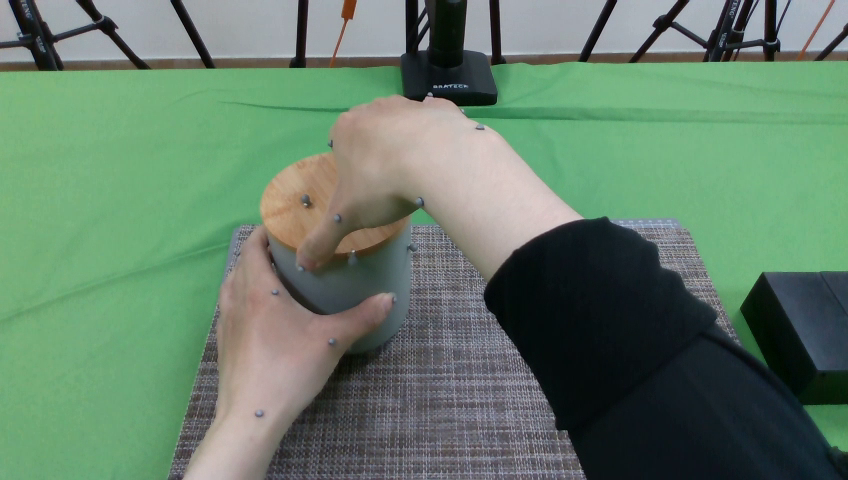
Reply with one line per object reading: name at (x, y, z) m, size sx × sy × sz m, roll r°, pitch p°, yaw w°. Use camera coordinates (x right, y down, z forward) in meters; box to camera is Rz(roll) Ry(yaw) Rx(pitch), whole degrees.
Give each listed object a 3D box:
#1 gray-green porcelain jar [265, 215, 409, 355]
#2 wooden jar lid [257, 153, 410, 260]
gray-green porcelain jar at (-0.065, 0.021, 0.480) m, size 0.106 × 0.127 × 0.105 m, roll 1°, pitch 45°, yaw -1°
wooden jar lid at (-0.064, -0.023, 0.436) m, size 0.108 × 0.021 × 0.107 m, roll 2°, pitch 47°, yaw -2°
